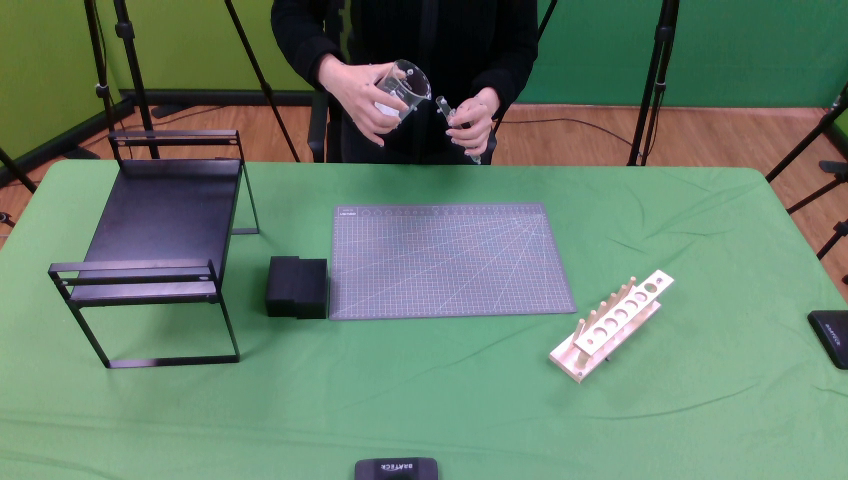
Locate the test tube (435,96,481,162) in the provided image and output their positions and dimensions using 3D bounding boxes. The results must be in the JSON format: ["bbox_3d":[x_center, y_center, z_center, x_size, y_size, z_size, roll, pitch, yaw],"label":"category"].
[{"bbox_3d":[0.060,-0.188,1.042,0.017,0.151,0.017,-21,43,21],"label":"test tube"}]

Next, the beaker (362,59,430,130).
[{"bbox_3d":[-0.047,-0.236,1.005,0.084,0.100,0.073,37,43,-17],"label":"beaker"}]

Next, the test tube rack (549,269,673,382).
[{"bbox_3d":[0.325,0.134,1.047,0.242,0.085,0.066,-32,56,-30],"label":"test tube rack"}]
